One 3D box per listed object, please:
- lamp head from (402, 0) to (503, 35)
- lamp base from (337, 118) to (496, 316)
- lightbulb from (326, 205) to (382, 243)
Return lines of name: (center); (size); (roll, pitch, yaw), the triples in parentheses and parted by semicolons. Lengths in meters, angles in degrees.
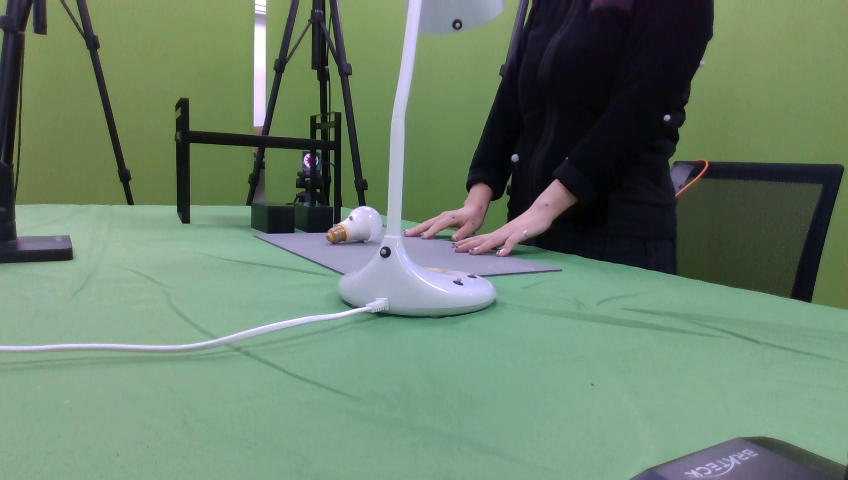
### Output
lamp head: (0.021, -0.293, 0.642); (0.112, 0.123, 0.112); (-9, 44, 9)
lamp base: (-0.008, -0.026, 0.589); (0.160, 0.180, 0.179); (4, 10, 15)
lightbulb: (-0.117, -0.021, 0.999); (0.059, 0.059, 0.108); (10, 25, 43)
